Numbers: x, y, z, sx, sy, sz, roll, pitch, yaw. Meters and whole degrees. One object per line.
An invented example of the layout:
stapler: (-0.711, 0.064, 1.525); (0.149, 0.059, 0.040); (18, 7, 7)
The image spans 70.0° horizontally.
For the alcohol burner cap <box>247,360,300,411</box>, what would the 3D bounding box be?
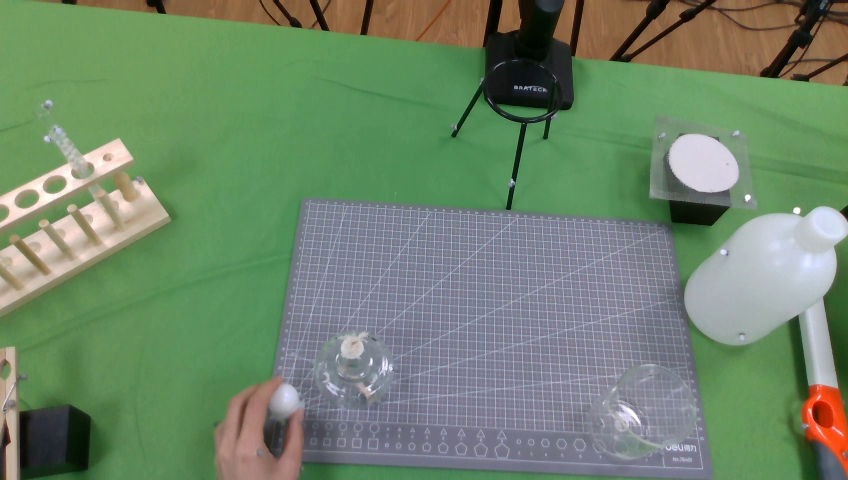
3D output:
alcohol burner cap: (-0.137, 0.138, 0.565); (0.047, 0.034, 0.034); (38, 66, 14)

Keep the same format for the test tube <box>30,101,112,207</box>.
test tube: (-0.355, -0.082, 0.616); (0.017, 0.151, 0.017); (1, 56, -1)

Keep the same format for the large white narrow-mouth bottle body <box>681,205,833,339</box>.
large white narrow-mouth bottle body: (0.346, 0.025, 0.617); (0.102, 0.196, 0.101); (2, 62, -3)

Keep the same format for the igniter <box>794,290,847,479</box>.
igniter: (0.424, 0.161, 0.647); (0.057, 0.025, 0.274); (15, 61, -9)

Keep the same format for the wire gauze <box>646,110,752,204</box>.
wire gauze: (0.330, -0.100, 0.730); (0.121, 0.011, 0.124); (11, 62, 1)

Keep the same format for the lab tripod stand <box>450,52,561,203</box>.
lab tripod stand: (0.103, -0.138, 0.716); (0.148, 0.132, 0.147); (3, 63, -5)

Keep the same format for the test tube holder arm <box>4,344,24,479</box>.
test tube holder arm: (-0.356, 0.175, 0.525); (0.013, 0.015, 0.177); (-12, 64, -20)

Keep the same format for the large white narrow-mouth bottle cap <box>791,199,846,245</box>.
large white narrow-mouth bottle cap: (0.351, -0.017, 0.541); (0.038, 0.024, 0.037); (2, 62, -3)

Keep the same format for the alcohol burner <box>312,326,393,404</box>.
alcohol burner: (-0.068, 0.114, 0.578); (0.078, 0.120, 0.077); (3, 61, -5)

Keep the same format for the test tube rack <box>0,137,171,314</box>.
test tube rack: (-0.403, -0.004, 0.630); (0.242, 0.086, 0.066); (-34, 70, -20)

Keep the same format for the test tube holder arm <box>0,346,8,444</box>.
test tube holder arm: (-0.376, 0.137, 0.541); (0.010, 0.015, 0.087); (-12, 64, -20)

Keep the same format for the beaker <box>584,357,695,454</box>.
beaker: (0.199, 0.163, 0.583); (0.084, 0.101, 0.073); (1, 62, -3)

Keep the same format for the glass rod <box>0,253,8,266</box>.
glass rod: (-0.436, -0.032, 0.566); (0.008, 0.201, 0.008); (4, 53, -4)
